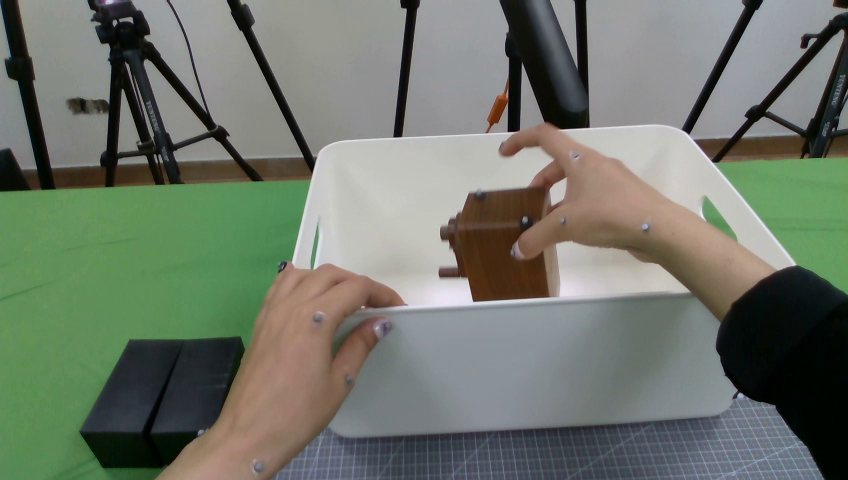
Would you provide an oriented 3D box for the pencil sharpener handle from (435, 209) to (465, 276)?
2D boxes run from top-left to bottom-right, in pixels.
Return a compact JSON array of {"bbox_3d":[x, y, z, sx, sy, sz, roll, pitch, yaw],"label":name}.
[{"bbox_3d":[0.019,0.005,0.527,0.030,0.068,0.035,-3,37,18],"label":"pencil sharpener handle"}]

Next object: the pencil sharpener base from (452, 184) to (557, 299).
[{"bbox_3d":[0.070,0.014,0.518,0.076,0.108,0.061,-3,34,17],"label":"pencil sharpener base"}]

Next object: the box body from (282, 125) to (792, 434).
[{"bbox_3d":[0.081,0.028,0.555,0.364,0.162,0.251,-3,37,-1],"label":"box body"}]
